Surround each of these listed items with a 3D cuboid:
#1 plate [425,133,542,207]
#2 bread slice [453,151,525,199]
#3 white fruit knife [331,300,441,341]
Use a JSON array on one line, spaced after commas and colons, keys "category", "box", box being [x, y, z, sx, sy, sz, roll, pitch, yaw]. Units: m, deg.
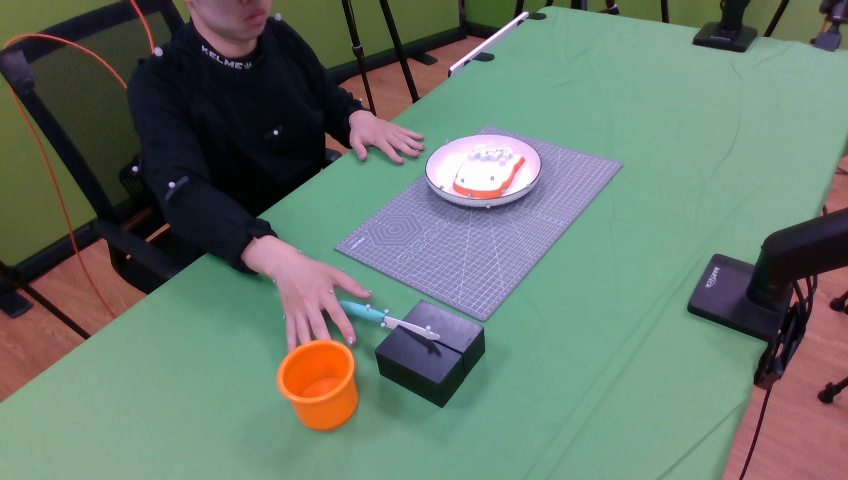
[{"category": "plate", "box": [0.106, -0.121, 1.079, 0.209, 0.038, 0.208, -4, 41, 4]}, {"category": "bread slice", "box": [0.112, -0.118, 1.079, 0.104, 0.019, 0.131, 11, 42, 21]}, {"category": "white fruit knife", "box": [-0.056, 0.107, 0.807, 0.205, 0.027, 0.016, 9, 42, 40]}]
